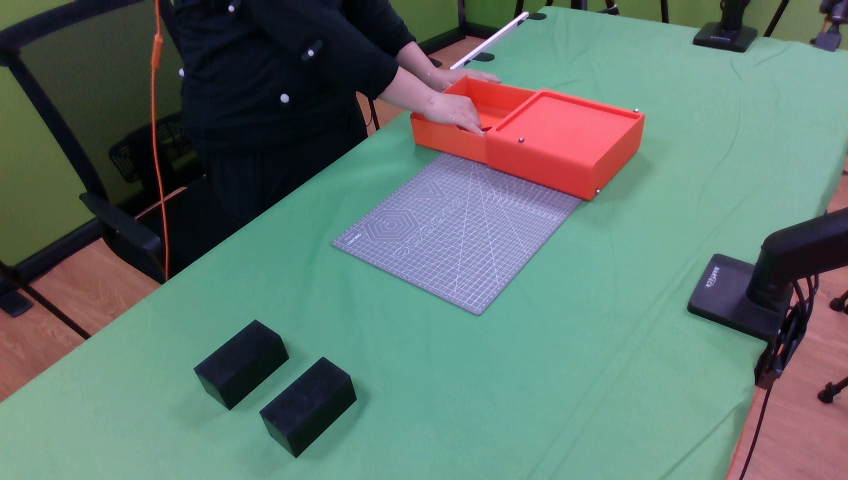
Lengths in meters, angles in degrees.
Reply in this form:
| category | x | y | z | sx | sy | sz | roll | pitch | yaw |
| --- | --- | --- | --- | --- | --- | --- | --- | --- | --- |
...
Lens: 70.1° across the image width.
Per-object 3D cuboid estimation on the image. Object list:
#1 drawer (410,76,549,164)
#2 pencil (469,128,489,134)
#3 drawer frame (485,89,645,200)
| category | x | y | z | sx | sy | sz | roll | pitch | yaw |
| --- | --- | --- | --- | --- | --- | --- | --- | --- | --- |
| drawer | 0.114 | -0.238 | 1.190 | 0.210 | 0.073 | 0.195 | 22 | 47 | 33 |
| pencil | 0.128 | -0.219 | 1.201 | 0.194 | 0.012 | 0.012 | -12 | 40 | -2 |
| drawer frame | 0.253 | -0.180 | 1.094 | 0.212 | 0.083 | 0.202 | 24 | 48 | 31 |
